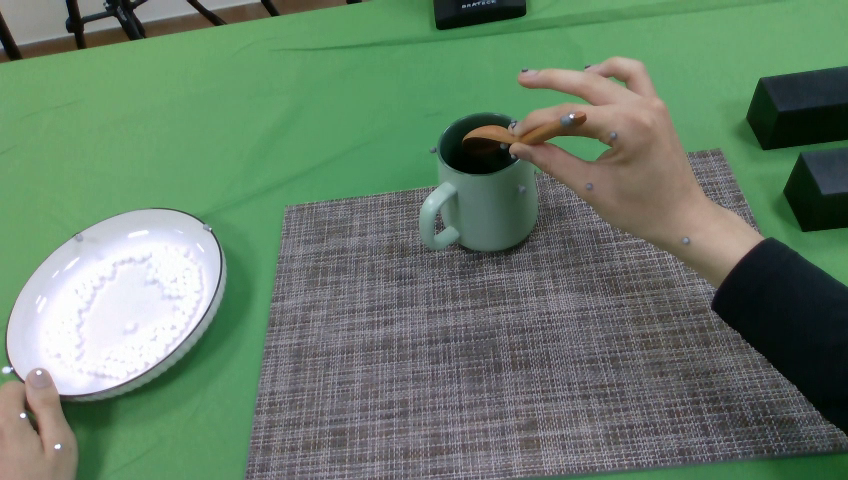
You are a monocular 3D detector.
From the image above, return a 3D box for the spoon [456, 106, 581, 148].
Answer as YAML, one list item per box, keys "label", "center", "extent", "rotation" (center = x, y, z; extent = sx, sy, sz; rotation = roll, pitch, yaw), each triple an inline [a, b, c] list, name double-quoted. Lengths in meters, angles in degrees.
- label: "spoon"
  center: [0.067, -0.081, 0.447]
  extent: [0.042, 0.021, 0.192]
  rotation: [0, 8, -15]

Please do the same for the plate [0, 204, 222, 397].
- label: "plate"
  center: [-0.290, 0.055, 0.578]
  extent: [0.209, 0.038, 0.207]
  rotation: [-5, 52, 7]

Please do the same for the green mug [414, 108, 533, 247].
- label: "green mug"
  center: [0.040, -0.044, 0.545]
  extent: [0.125, 0.106, 0.091]
  rotation: [-42, 57, -20]
